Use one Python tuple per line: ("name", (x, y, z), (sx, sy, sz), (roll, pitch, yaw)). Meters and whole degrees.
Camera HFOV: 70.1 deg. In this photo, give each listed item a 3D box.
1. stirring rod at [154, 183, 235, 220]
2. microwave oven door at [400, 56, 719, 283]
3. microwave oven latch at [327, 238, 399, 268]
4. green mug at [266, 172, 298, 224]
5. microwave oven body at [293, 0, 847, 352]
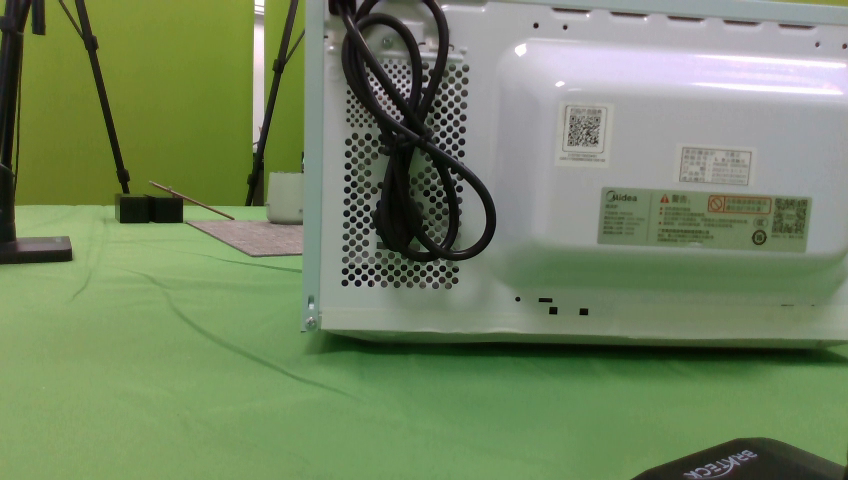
("stirring rod", (-0.472, -0.079, 1.252), (0.177, 0.006, 0.014), (27, 4, -35))
("microwave oven door", (0.155, -0.077, 0.698), (0.356, 0.243, 0.039), (2, 8, -5))
("microwave oven latch", (-0.069, 0.015, 0.694), (0.079, 0.029, 0.030), (3, 7, -3))
("green mug", (-0.272, -0.089, 1.271), (0.092, 0.105, 0.126), (7, 8, 33))
("microwave oven body", (0.122, -0.055, 0.550), (0.442, 0.260, 0.325), (3, 7, -5))
